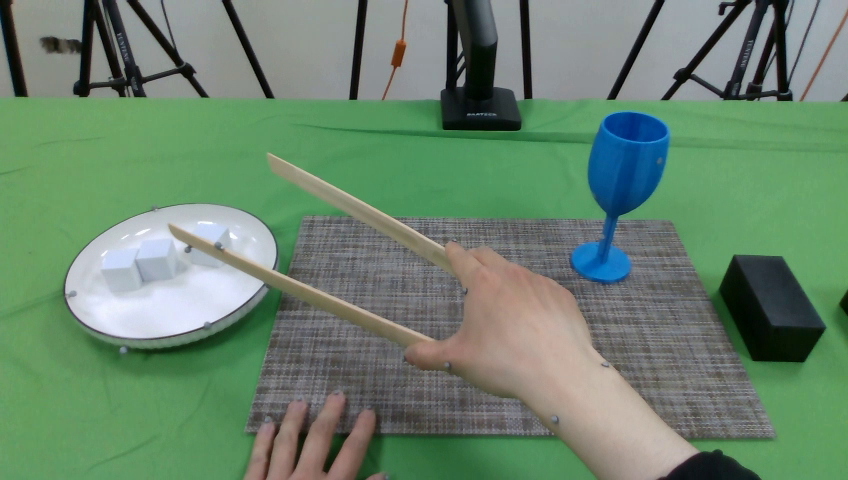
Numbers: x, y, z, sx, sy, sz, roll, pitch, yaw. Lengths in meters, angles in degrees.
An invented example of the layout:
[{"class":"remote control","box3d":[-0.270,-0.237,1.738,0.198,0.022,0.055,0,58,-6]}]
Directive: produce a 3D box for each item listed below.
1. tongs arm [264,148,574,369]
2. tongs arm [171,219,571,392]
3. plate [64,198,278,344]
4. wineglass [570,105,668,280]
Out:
[{"class":"tongs arm","box3d":[-0.027,-0.004,0.539,0.384,0.028,0.028,31,53,32]},{"class":"tongs arm","box3d":[-0.067,0.038,0.505,0.382,0.027,0.050,22,52,27]},{"class":"plate","box3d":[-0.256,0.031,0.633,0.209,0.038,0.207,1,40,0]},{"class":"wineglass","box3d":[0.196,-0.046,0.623,0.074,0.174,0.073,0,41,0]}]
